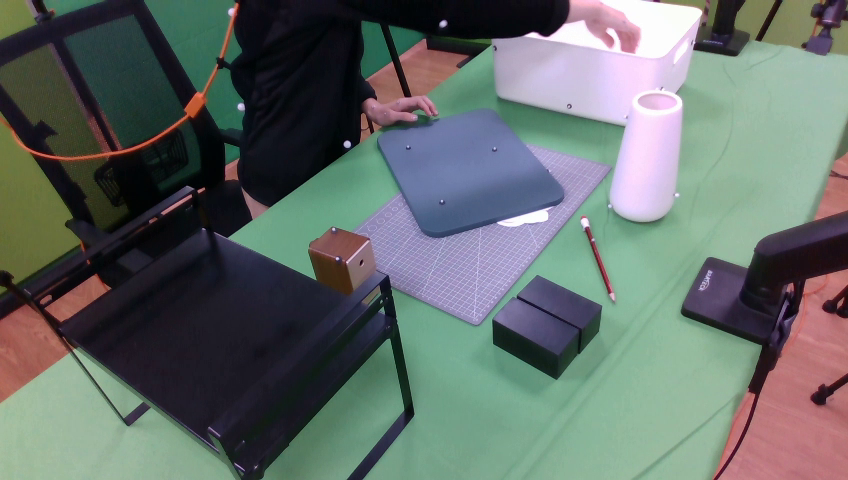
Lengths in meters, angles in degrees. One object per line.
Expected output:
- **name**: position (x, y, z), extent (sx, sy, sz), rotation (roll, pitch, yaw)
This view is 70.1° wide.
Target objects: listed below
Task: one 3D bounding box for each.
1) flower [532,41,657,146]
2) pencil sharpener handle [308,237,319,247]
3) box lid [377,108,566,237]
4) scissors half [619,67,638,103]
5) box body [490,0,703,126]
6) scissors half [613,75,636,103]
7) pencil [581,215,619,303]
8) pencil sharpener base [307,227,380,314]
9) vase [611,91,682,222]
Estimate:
- **flower**: position (0.370, -0.320, 1.323), extent (0.038, 0.044, 0.359), rotation (-16, 56, -49)
- **pencil sharpener handle**: position (-0.158, 0.017, 0.892), extent (0.030, 0.068, 0.036), rotation (18, 61, 28)
- **box lid**: position (0.074, -0.141, 1.137), extent (0.264, 0.015, 0.368), rotation (-16, 40, -10)
- **scissors half**: position (0.434, -0.340, 1.298), extent (0.013, 0.040, 0.174), rotation (34, 33, -15)
- **box body**: position (0.352, -0.385, 1.268), extent (0.361, 0.161, 0.255), rotation (21, 48, 29)
- **scissors half**: position (0.425, -0.331, 1.305), extent (0.040, 0.013, 0.174), rotation (-41, 19, 26)
- **pencil**: position (0.266, 0.025, 0.916), extent (0.012, 0.012, 0.193), rotation (-6, 41, 1)
- **pencil sharpener base**: position (-0.116, 0.043, 0.875), extent (0.076, 0.107, 0.061), rotation (18, 47, 27)
- **vase**: position (0.348, -0.125, 0.935), extent (0.098, 0.201, 0.097), rotation (-3, 40, 3)
